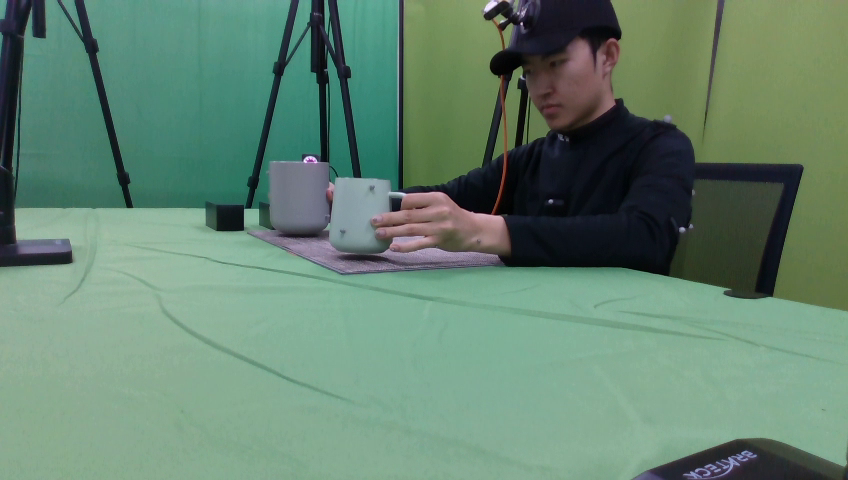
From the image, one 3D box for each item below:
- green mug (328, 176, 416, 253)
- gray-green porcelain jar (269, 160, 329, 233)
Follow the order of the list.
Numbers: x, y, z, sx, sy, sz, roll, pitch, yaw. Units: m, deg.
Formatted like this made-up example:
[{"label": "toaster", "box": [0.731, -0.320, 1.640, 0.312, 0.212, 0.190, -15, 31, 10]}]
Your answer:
[{"label": "green mug", "box": [-0.073, -0.036, 0.862, 0.125, 0.105, 0.092, 3, 5, 11]}, {"label": "gray-green porcelain jar", "box": [-0.224, -0.080, 1.090, 0.106, 0.126, 0.106, 0, 7, 0]}]
